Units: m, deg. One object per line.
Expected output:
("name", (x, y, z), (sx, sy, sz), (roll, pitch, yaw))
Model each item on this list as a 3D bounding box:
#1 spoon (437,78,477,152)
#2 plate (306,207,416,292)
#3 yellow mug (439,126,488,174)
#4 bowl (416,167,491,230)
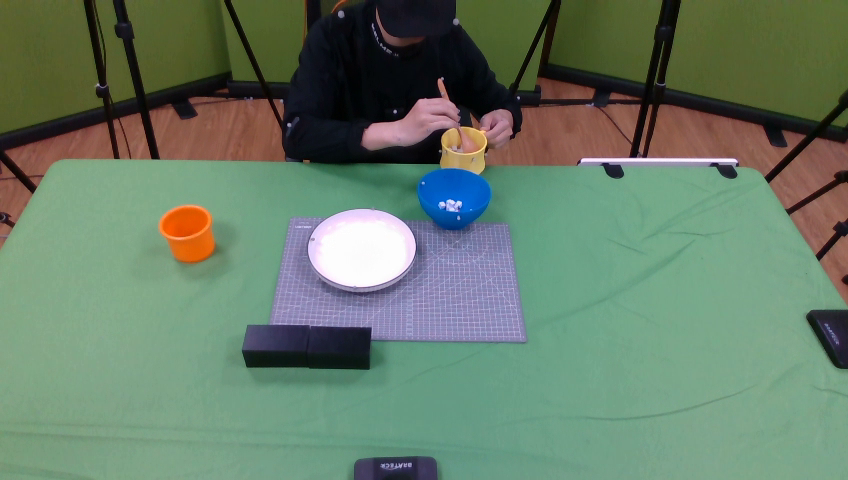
("spoon", (0.066, -0.248, 1.273), (0.041, 0.194, 0.021), (-33, 16, -21))
("plate", (-0.119, 0.021, 1.153), (0.209, 0.038, 0.208), (2, 46, -2))
("yellow mug", (0.095, -0.199, 1.318), (0.131, 0.064, 0.099), (-35, 55, -31))
("bowl", (0.057, -0.074, 1.231), (0.151, 0.077, 0.150), (2, 42, -2))
